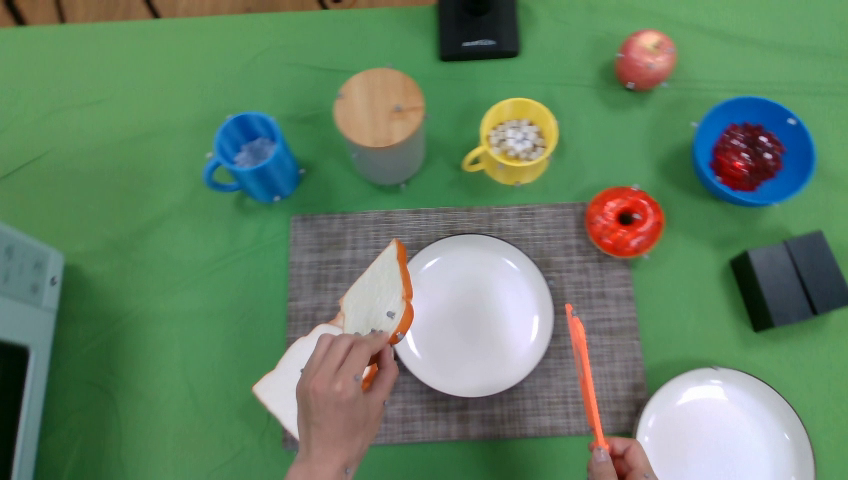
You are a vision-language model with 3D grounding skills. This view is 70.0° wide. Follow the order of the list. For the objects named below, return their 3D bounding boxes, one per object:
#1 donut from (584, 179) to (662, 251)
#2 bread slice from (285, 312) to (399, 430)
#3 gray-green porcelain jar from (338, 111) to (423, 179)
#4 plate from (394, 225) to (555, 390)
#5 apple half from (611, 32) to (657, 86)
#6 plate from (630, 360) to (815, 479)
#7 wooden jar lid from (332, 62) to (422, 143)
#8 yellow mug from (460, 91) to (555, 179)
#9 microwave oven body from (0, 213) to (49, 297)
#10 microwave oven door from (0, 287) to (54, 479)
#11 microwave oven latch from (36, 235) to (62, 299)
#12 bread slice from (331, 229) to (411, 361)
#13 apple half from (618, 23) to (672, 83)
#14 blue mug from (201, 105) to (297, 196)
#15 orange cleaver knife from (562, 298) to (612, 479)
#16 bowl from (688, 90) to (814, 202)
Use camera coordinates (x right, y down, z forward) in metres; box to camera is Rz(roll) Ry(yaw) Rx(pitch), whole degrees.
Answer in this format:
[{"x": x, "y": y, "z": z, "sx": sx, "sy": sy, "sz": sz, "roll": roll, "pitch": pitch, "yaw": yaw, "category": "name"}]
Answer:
[{"x": 0.258, "y": -0.033, "z": 0.790, "sx": 0.099, "sy": 0.048, "sz": 0.098, "roll": 0, "pitch": 74, "yaw": 1, "category": "donut"}, {"x": -0.091, "y": 0.152, "z": 0.746, "sx": 0.105, "sy": 0.019, "sz": 0.131, "roll": 31, "pitch": 75, "yaw": 2, "category": "bread slice"}, {"x": -0.054, "y": -0.145, "z": 0.791, "sx": 0.106, "sy": 0.127, "sz": 0.105, "roll": 0, "pitch": 73, "yaw": 1, "category": "gray-green porcelain jar"}, {"x": 0.058, "y": 0.084, "z": 0.764, "sx": 0.207, "sy": 0.039, "sz": 0.206, "roll": 0, "pitch": 74, "yaw": 1, "category": "plate"}, {"x": 0.281, "y": -0.241, "z": 0.837, "sx": 0.033, "sy": 0.082, "sz": 0.081, "roll": -34, "pitch": 75, "yaw": -13, "category": "apple half"}, {"x": 0.344, "y": 0.248, "z": 0.712, "sx": 0.209, "sy": 0.038, "sz": 0.208, "roll": 0, "pitch": 74, "yaw": 2, "category": "plate"}, {"x": -0.056, "y": -0.164, "z": 0.732, "sx": 0.108, "sy": 0.021, "sz": 0.107, "roll": -1, "pitch": 72, "yaw": 2, "category": "wooden jar lid"}, {"x": 0.108, "y": -0.134, "z": 0.816, "sx": 0.131, "sy": 0.064, "sz": 0.099, "roll": -25, "pitch": 75, "yaw": -5, "category": "yellow mug"}, {"x": -0.632, "y": 0.182, "z": 0.634, "sx": 0.326, "sy": 0.261, "sz": 0.439, "roll": -2, "pitch": 74, "yaw": 0, "category": "microwave oven body"}, {"x": -0.486, "y": 0.215, "z": 0.615, "sx": 0.039, "sy": 0.245, "sz": 0.353, "roll": -2, "pitch": 73, "yaw": 1, "category": "microwave oven door"}, {"x": -0.487, "y": 0.035, "z": 0.774, "sx": 0.030, "sy": 0.029, "sz": 0.078, "roll": 0, "pitch": 74, "yaw": 1, "category": "microwave oven latch"}, {"x": -0.054, "y": 0.062, "z": 0.641, "sx": 0.107, "sy": 0.018, "sz": 0.133, "roll": -48, "pitch": 33, "yaw": 17, "category": "bread slice"}, {"x": 0.312, "y": -0.263, "z": 0.845, "sx": 0.053, "sy": 0.075, "sz": 0.080, "roll": -33, "pitch": 71, "yaw": -13, "category": "apple half"}, {"x": -0.233, "y": -0.107, "z": 0.795, "sx": 0.116, "sy": 0.106, "sz": 0.082, "roll": -28, "pitch": 74, "yaw": -6, "category": "blue mug"}, {"x": 0.165, "y": 0.164, "z": 0.613, "sx": 0.012, "sy": 0.077, "sz": 0.211, "roll": -11, "pitch": 91, "yaw": 3, "category": "orange cleaver knife"}, {"x": 0.413, "y": -0.111, "z": 0.795, "sx": 0.151, "sy": 0.077, "sz": 0.150, "roll": 0, "pitch": 74, "yaw": 2, "category": "bowl"}]
